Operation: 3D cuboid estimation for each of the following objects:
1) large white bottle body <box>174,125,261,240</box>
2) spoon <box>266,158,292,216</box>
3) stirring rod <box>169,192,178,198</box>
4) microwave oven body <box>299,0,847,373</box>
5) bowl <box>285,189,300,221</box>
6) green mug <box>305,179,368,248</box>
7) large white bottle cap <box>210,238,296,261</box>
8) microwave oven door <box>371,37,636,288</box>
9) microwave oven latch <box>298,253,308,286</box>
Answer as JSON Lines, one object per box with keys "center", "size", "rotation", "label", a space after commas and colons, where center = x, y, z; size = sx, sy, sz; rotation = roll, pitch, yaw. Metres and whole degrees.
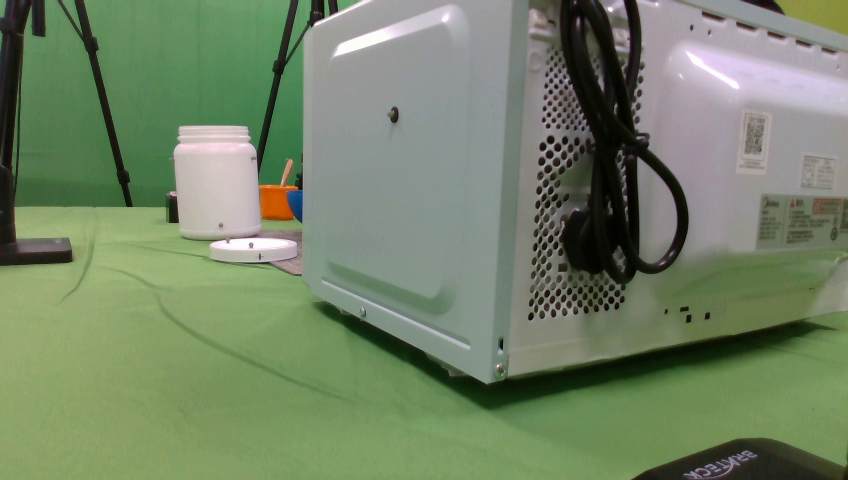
{"center": [-0.349, -0.100, 1.025], "size": [0.131, 0.184, 0.130], "rotation": [-1, 9, 0], "label": "large white bottle body"}
{"center": [-0.334, -0.127, 1.423], "size": [0.041, 0.193, 0.022], "rotation": [0, -37, 7], "label": "spoon"}
{"center": [-0.466, -0.098, 1.283], "size": [0.014, 0.006, 0.177], "rotation": [42, 21, 17], "label": "stirring rod"}
{"center": [0.152, -0.055, 0.542], "size": [0.444, 0.260, 0.324], "rotation": [-2, 7, -33], "label": "microwave oven body"}
{"center": [-0.180, -0.050, 1.113], "size": [0.151, 0.077, 0.151], "rotation": [3, 8, 0], "label": "bowl"}
{"center": [-0.133, -0.044, 0.977], "size": [0.092, 0.105, 0.126], "rotation": [6, 8, 31], "label": "green mug"}
{"center": [-0.236, 0.012, 0.839], "size": [0.115, 0.018, 0.115], "rotation": [1, 7, 0], "label": "large white bottle cap"}
{"center": [0.109, -0.080, 0.686], "size": [0.358, 0.243, 0.039], "rotation": [-2, 9, -33], "label": "microwave oven door"}
{"center": [-0.081, 0.028, 0.583], "size": [0.079, 0.029, 0.030], "rotation": [-2, 7, -33], "label": "microwave oven latch"}
